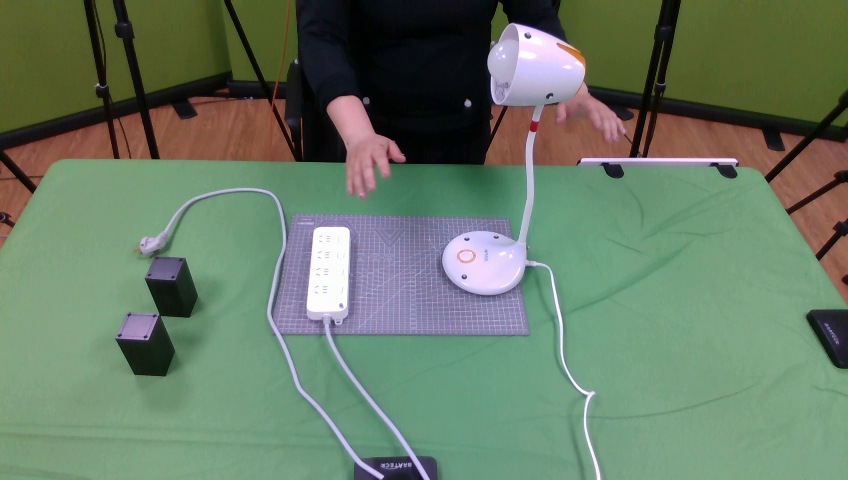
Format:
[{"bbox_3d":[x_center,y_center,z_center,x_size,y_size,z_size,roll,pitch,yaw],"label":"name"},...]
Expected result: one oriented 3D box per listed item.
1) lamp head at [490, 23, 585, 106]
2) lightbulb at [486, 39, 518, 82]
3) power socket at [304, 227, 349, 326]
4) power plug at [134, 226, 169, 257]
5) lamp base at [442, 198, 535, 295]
[{"bbox_3d":[0.165,-0.241,0.872,0.123,0.113,0.111,9,43,-17],"label":"lamp head"},{"bbox_3d":[0.142,-0.252,0.863,0.108,0.060,0.059,8,45,-4],"label":"lightbulb"},{"bbox_3d":[-0.177,0.059,1.115,0.072,0.033,0.225,-1,46,-4],"label":"power socket"},{"bbox_3d":[-0.516,0.006,1.152,0.052,0.035,0.072,-7,25,5],"label":"power plug"},{"bbox_3d":[0.130,-0.012,1.105,0.179,0.181,0.159,-1,46,-9],"label":"lamp base"}]
